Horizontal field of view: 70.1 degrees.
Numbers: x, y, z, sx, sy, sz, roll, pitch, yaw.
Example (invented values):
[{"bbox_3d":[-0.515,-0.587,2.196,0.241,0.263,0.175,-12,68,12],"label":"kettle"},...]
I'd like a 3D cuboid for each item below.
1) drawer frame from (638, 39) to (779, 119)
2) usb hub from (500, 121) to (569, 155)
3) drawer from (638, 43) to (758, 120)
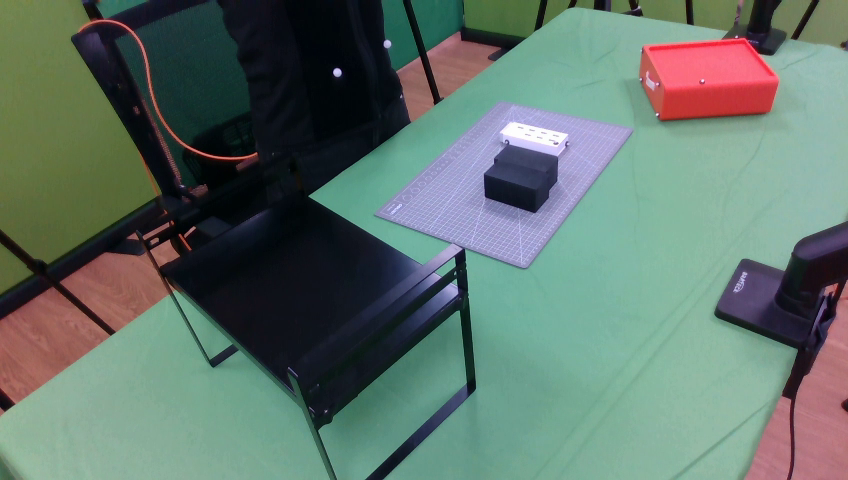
[{"bbox_3d":[0.563,-0.329,1.227,0.213,0.083,0.200,-3,40,5],"label":"drawer frame"},{"bbox_3d":[0.212,-0.198,1.167,0.124,0.025,0.049,20,48,28],"label":"usb hub"},{"bbox_3d":[0.562,-0.326,1.229,0.212,0.073,0.193,-2,40,5],"label":"drawer"}]
